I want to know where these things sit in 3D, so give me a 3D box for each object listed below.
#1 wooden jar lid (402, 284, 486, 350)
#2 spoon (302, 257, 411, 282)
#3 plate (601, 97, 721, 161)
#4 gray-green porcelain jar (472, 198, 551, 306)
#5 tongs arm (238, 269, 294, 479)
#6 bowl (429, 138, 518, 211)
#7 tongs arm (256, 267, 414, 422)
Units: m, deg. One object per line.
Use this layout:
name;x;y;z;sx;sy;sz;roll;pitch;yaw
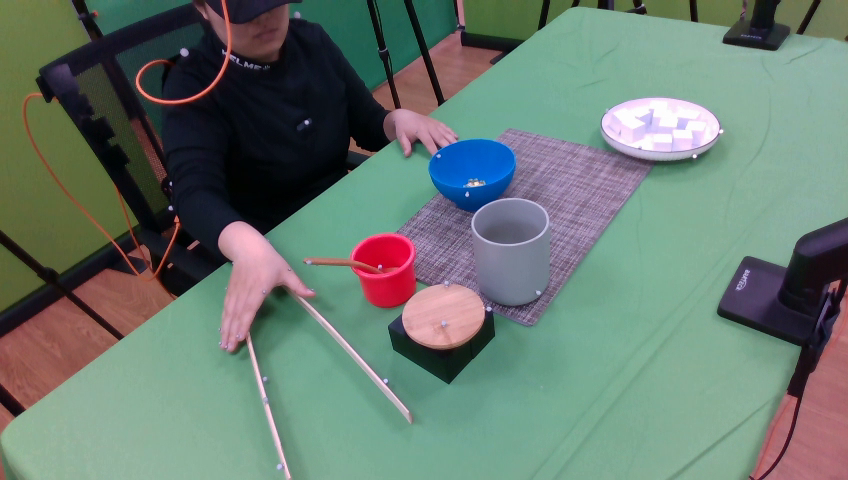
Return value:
wooden jar lid;0.026;0.101;0.786;0.108;0.021;0.108;-5;39;4
spoon;-0.092;0.038;0.865;0.195;0.021;0.041;16;15;-46
plate;0.436;-0.203;1.126;0.209;0.038;0.208;-5;39;5
gray-green porcelain jar;0.125;0.021;0.850;0.106;0.127;0.105;-6;40;5
tongs arm;-0.208;0.163;0.824;0.051;0.026;0.381;-22;40;-15
bowl;0.087;-0.104;1.043;0.151;0.077;0.150;-5;40;5
tongs arm;-0.137;0.132;0.853;0.028;0.028;0.384;-34;45;-23
